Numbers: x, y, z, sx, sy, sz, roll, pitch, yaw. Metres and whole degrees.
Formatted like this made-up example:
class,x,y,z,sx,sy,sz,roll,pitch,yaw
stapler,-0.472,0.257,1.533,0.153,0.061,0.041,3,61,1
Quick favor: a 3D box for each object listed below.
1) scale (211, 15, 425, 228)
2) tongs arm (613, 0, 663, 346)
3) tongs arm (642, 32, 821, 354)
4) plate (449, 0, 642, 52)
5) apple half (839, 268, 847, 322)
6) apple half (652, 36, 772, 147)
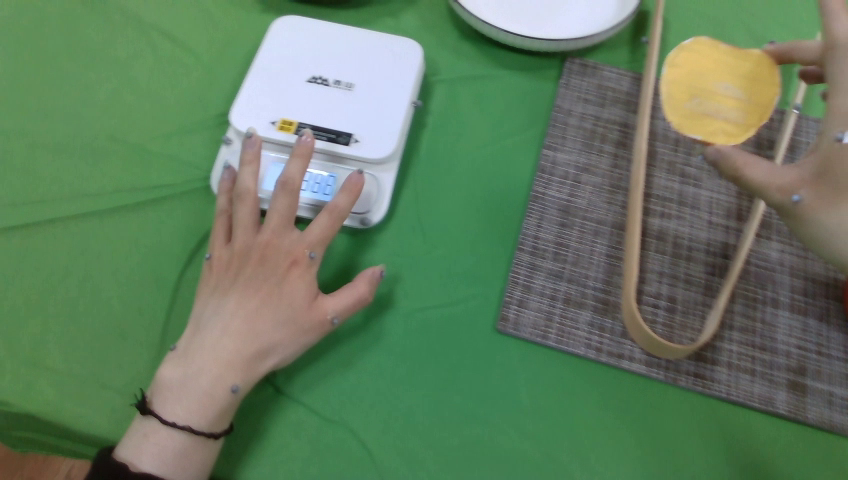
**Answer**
class,x,y,z,sx,sy,sz,roll,pitch,yaw
scale,-0.088,-0.111,0.532,0.148,0.032,0.199,12,62,3
tongs arm,0.198,-0.090,0.537,0.028,0.028,0.385,16,62,1
tongs arm,0.276,-0.061,0.523,0.050,0.027,0.383,27,64,11
plate,0.120,-0.266,0.626,0.209,0.038,0.207,2,61,-3
apple half,0.342,0.044,0.445,0.053,0.075,0.080,-19,67,-8
apple half,0.193,-0.098,0.421,0.081,0.033,0.081,-1,82,9
